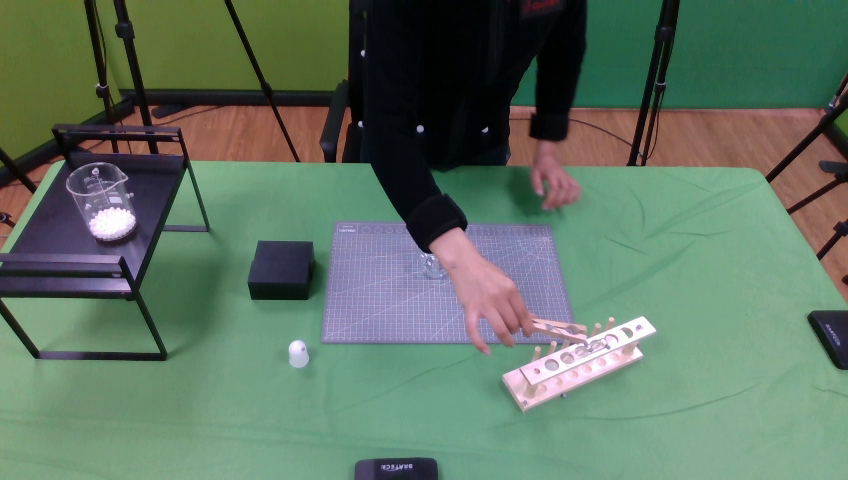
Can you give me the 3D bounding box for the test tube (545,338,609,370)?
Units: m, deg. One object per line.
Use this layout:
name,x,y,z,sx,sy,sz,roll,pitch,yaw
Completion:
test tube,0.225,0.180,0.934,0.017,0.150,0.017,17,55,-26

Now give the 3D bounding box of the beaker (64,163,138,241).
beaker,-0.478,-0.055,0.910,0.084,0.101,0.073,-9,48,-13

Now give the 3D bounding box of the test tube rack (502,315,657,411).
test tube rack,0.253,0.186,0.989,0.242,0.085,0.066,-18,50,-20

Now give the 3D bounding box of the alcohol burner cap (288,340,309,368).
alcohol burner cap,-0.206,0.183,0.991,0.034,0.048,0.033,2,47,-2

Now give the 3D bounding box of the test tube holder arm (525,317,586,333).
test tube holder arm,0.182,0.119,0.844,0.088,0.015,0.010,9,53,-11

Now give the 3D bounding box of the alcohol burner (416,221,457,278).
alcohol burner,0.024,0.013,1.116,0.078,0.120,0.077,1,45,-1

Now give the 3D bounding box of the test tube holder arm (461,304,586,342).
test tube holder arm,0.138,0.114,0.834,0.179,0.015,0.013,13,52,-7
